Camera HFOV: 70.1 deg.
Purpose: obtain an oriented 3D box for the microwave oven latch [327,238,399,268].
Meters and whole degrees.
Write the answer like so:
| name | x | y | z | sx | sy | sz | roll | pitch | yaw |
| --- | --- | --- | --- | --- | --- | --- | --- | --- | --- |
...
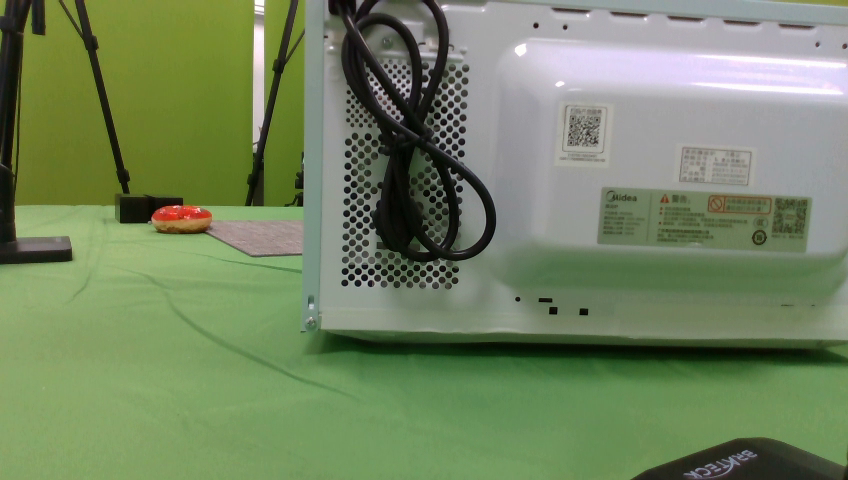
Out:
| name | x | y | z | sx | sy | sz | roll | pitch | yaw |
| --- | --- | --- | --- | --- | --- | --- | --- | --- | --- |
| microwave oven latch | -0.069 | 0.015 | 0.694 | 0.079 | 0.029 | 0.030 | 3 | 7 | -3 |

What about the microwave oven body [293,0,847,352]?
| name | x | y | z | sx | sy | sz | roll | pitch | yaw |
| --- | --- | --- | --- | --- | --- | --- | --- | --- | --- |
| microwave oven body | 0.122 | -0.055 | 0.550 | 0.442 | 0.260 | 0.325 | 3 | 7 | -5 |

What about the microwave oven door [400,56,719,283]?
| name | x | y | z | sx | sy | sz | roll | pitch | yaw |
| --- | --- | --- | --- | --- | --- | --- | --- | --- | --- |
| microwave oven door | 0.155 | -0.077 | 0.698 | 0.356 | 0.243 | 0.039 | 2 | 8 | -5 |

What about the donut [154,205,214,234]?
| name | x | y | z | sx | sy | sz | roll | pitch | yaw |
| --- | --- | --- | --- | --- | --- | --- | --- | --- | --- |
| donut | -0.426 | -0.037 | 1.075 | 0.099 | 0.048 | 0.099 | 2 | 12 | 0 |
